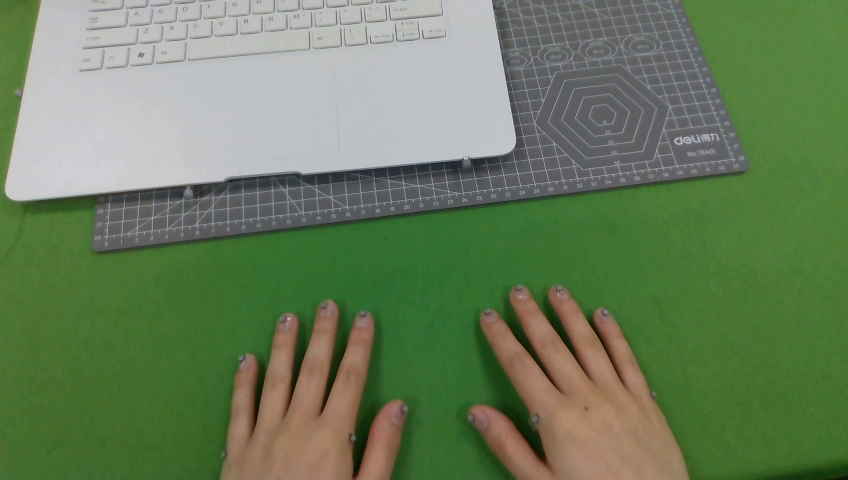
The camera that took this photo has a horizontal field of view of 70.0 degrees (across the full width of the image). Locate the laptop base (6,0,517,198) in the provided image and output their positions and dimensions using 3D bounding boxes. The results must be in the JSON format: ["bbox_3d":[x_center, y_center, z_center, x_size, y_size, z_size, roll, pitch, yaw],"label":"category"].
[{"bbox_3d":[-0.120,-0.149,0.462,0.354,0.023,0.233,-6,69,-1],"label":"laptop base"}]
